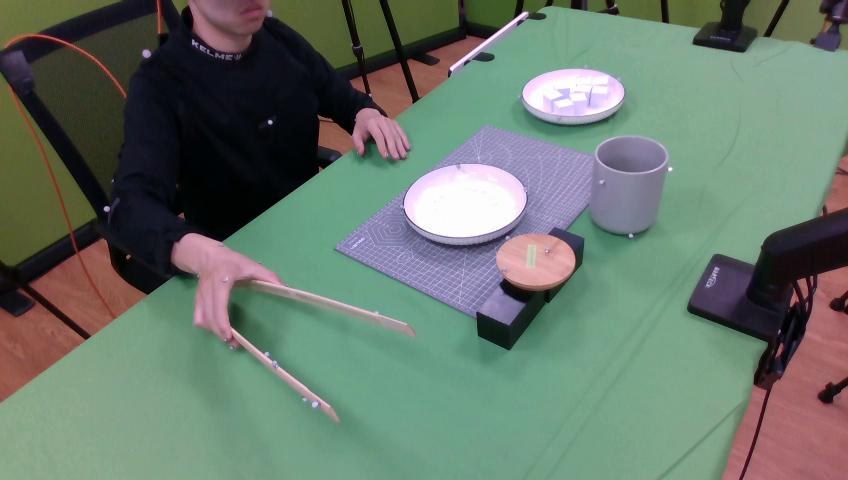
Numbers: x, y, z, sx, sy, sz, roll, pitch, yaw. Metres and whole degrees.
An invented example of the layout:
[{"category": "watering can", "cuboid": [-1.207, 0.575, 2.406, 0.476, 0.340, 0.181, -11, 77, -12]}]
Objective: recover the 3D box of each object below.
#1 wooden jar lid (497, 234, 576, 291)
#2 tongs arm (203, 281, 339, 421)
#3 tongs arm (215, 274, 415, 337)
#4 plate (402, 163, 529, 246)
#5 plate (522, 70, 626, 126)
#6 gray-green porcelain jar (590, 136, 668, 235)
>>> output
[{"category": "wooden jar lid", "cuboid": [0.155, 0.032, 0.834, 0.108, 0.021, 0.108, -5, 40, 5]}, {"category": "tongs arm", "cuboid": [-0.200, 0.125, 0.760, 0.381, 0.027, 0.051, 17, 55, 47]}, {"category": "tongs arm", "cuboid": [-0.158, 0.081, 0.790, 0.384, 0.028, 0.028, 7, 52, 41]}, {"category": "plate", "cuboid": [0.069, -0.056, 1.008, 0.209, 0.038, 0.208, -4, 40, 4]}, {"category": "plate", "cuboid": [0.308, -0.290, 1.251, 0.207, 0.039, 0.206, -4, 40, 4]}, {"category": "gray-green porcelain jar", "cuboid": [0.314, -0.080, 0.937, 0.106, 0.127, 0.105, -4, 41, 4]}]
